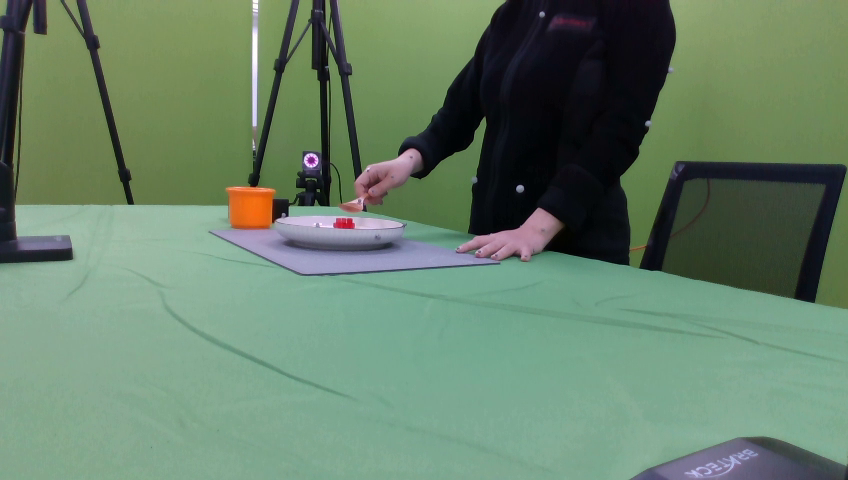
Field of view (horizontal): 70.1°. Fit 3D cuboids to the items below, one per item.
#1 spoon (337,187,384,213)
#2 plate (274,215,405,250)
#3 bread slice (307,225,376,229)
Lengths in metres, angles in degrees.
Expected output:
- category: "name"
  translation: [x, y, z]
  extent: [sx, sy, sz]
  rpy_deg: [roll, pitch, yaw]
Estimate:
- category: "spoon"
  translation: [-0.103, -0.075, 1.065]
  extent: [0.041, 0.021, 0.194]
  rpy_deg: [6, 19, 14]
- category: "plate"
  translation: [-0.136, -0.013, 0.981]
  extent: [0.209, 0.038, 0.209]
  rpy_deg: [2, 7, 0]
- category: "bread slice"
  translation: [-0.133, -0.011, 0.974]
  extent: [0.135, 0.018, 0.106]
  rpy_deg: [-2, 8, -33]
